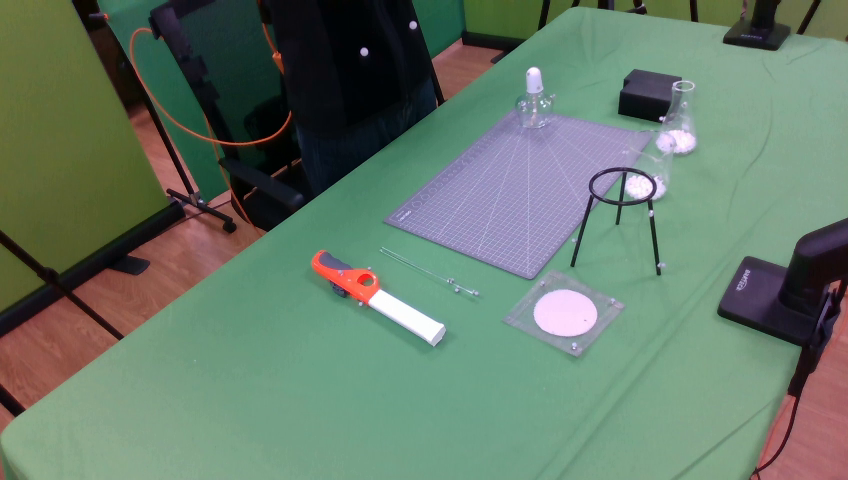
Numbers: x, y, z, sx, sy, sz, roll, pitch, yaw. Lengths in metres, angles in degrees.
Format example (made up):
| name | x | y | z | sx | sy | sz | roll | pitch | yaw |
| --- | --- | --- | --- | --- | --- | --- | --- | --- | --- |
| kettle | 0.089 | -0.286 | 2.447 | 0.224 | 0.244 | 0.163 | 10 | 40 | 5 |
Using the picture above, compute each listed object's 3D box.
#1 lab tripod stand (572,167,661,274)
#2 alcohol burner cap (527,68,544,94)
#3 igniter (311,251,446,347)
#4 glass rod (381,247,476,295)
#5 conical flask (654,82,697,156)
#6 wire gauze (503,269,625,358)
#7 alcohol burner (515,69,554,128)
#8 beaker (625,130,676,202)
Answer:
| name | x | y | z | sx | sy | sz | roll | pitch | yaw |
| --- | --- | --- | --- | --- | --- | --- | --- | --- | --- |
| lab tripod stand | 0.283 | -0.030 | 0.879 | 0.148 | 0.132 | 0.147 | -7 | 38 | 6 |
| alcohol burner cap | 0.216 | -0.312 | 1.179 | 0.034 | 0.048 | 0.033 | -10 | 40 | 9 |
| igniter | -0.078 | 0.081 | 0.899 | 0.274 | 0.025 | 0.057 | 27 | 62 | 35 |
| glass rod | 0.002 | 0.046 | 0.939 | 0.198 | 0.008 | 0.008 | 24 | 51 | 36 |
| conical flask | 0.454 | -0.218 | 1.076 | 0.075 | 0.122 | 0.075 | -5 | 40 | 5 |
| wire gauze | 0.194 | 0.100 | 0.840 | 0.120 | 0.011 | 0.125 | 27 | 54 | 36 |
| alcohol burner | 0.221 | -0.285 | 1.203 | 0.078 | 0.119 | 0.077 | -4 | 39 | 4 |
| beaker | 0.369 | -0.117 | 0.992 | 0.074 | 0.101 | 0.083 | -7 | 41 | 5 |
